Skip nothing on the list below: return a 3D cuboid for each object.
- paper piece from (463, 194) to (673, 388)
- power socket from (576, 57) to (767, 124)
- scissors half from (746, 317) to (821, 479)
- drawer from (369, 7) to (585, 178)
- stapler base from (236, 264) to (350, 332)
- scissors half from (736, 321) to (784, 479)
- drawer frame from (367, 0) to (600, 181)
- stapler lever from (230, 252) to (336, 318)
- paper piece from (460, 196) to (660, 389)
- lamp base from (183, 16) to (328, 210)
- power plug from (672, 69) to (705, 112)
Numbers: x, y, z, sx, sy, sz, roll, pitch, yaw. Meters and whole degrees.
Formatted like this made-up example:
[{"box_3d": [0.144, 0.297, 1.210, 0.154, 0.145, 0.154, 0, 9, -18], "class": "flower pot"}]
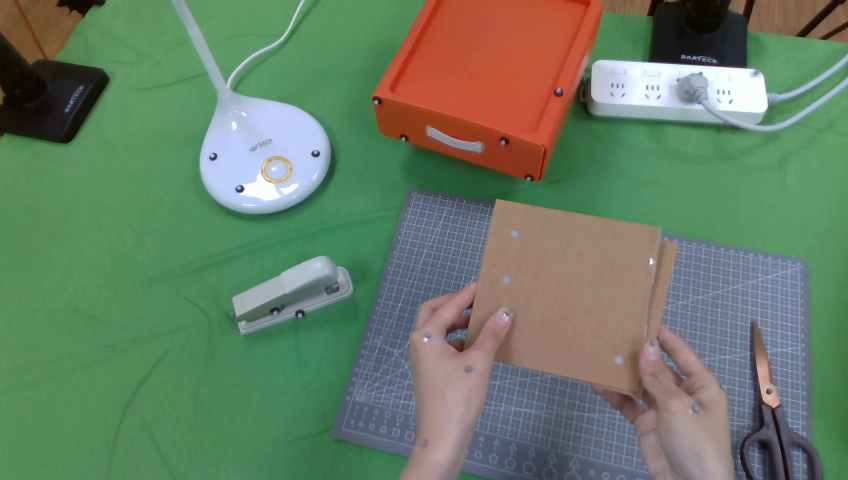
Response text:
[{"box_3d": [0.118, 0.035, 0.493, 0.134, 0.004, 0.135, 19, 67, 20], "class": "paper piece"}, {"box_3d": [0.307, -0.186, 0.753, 0.226, 0.033, 0.071, 6, 65, 6], "class": "power socket"}, {"box_3d": [0.342, 0.155, 0.588, 0.040, 0.013, 0.173, -4, 61, -3], "class": "scissors half"}, {"box_3d": [0.070, -0.195, 0.696, 0.194, 0.074, 0.210, 19, 65, 13], "class": "drawer"}, {"box_3d": [-0.147, 0.058, 0.664, 0.130, 0.024, 0.041, -20, 60, -5], "class": "stapler base"}, {"box_3d": [0.322, 0.154, 0.587, 0.040, 0.013, 0.174, 14, 60, 1], "class": "scissors half"}, {"box_3d": [0.071, -0.200, 0.701, 0.201, 0.083, 0.212, 19, 67, 13], "class": "drawer frame"}, {"box_3d": [-0.151, 0.047, 0.640, 0.118, 0.040, 0.026, -21, 60, -5], "class": "stapler lever"}, {"box_3d": [0.109, 0.037, 0.482, 0.135, 0.009, 0.137, 11, 74, 12], "class": "paper piece"}, {"box_3d": [-0.212, -0.150, 0.684, 0.160, 0.182, 0.177, -39, 64, -16], "class": "lamp base"}, {"box_3d": [0.311, -0.170, 0.719, 0.035, 0.053, 0.072, 16, 65, 11], "class": "power plug"}]
